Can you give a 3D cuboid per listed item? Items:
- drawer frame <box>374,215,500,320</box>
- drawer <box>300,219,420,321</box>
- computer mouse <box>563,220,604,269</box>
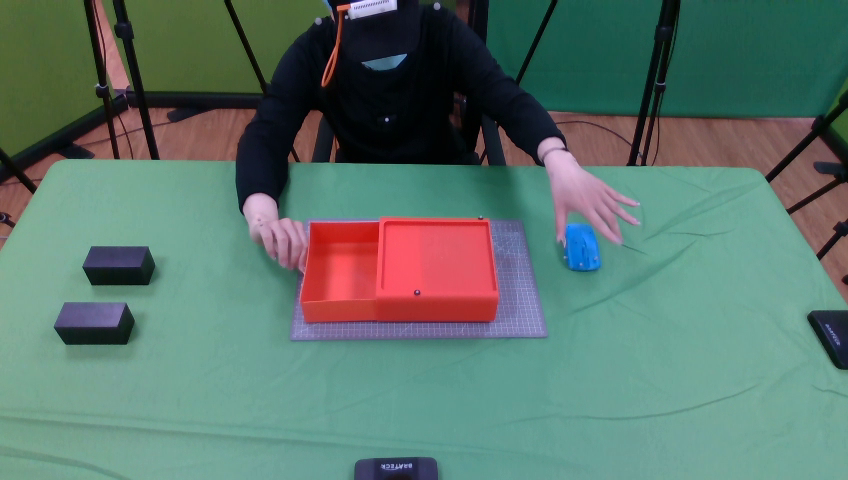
[{"bbox_3d":[0.020,0.048,1.100,0.214,0.083,0.200,0,46,-3],"label":"drawer frame"},{"bbox_3d":[-0.109,0.050,1.096,0.212,0.073,0.193,-1,46,-2],"label":"drawer"},{"bbox_3d":[0.315,0.006,1.196,0.063,0.041,0.116,1,51,-4],"label":"computer mouse"}]
